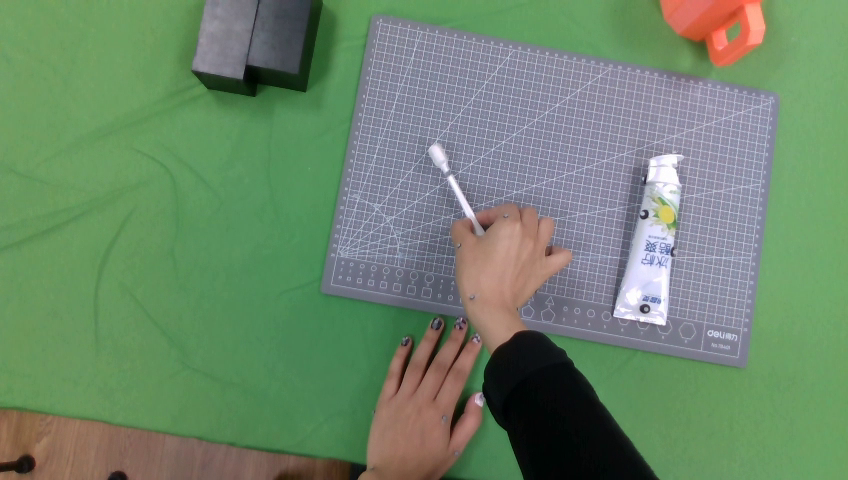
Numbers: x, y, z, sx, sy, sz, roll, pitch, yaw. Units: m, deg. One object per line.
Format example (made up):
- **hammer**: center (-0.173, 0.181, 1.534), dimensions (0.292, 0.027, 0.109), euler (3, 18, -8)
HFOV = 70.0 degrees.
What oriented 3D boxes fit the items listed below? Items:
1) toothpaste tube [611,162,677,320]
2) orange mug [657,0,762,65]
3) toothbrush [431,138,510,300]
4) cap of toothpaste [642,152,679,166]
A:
- **toothpaste tube**: center (0.233, -0.002, 0.628), dimensions (0.055, 0.034, 0.165), euler (9, 89, 5)
- **orange mug**: center (0.305, -0.250, 0.619), dimensions (0.083, 0.101, 0.125), euler (-11, 81, -4)
- **toothbrush**: center (0.048, -0.022, 0.618), dimensions (0.014, 0.016, 0.182), euler (-24, 91, -5)
- **cap of toothpaste**: center (0.247, -0.083, 0.629), dimensions (0.037, 0.037, 0.011), euler (-3, 82, -4)
